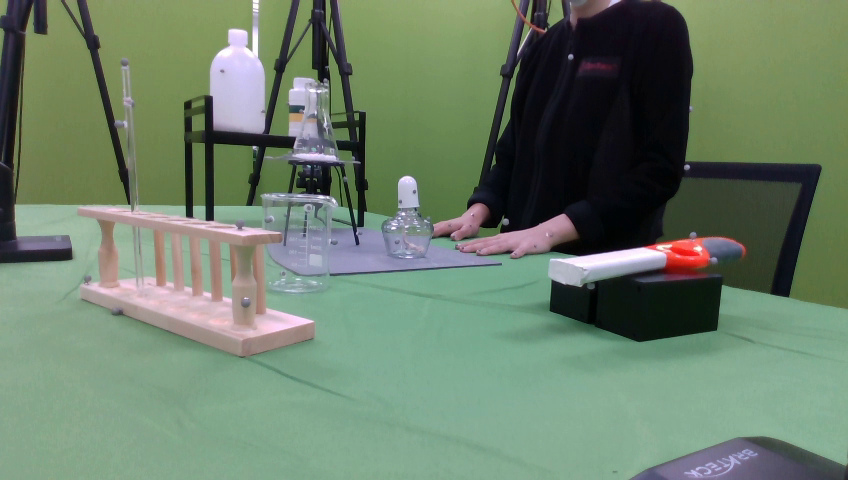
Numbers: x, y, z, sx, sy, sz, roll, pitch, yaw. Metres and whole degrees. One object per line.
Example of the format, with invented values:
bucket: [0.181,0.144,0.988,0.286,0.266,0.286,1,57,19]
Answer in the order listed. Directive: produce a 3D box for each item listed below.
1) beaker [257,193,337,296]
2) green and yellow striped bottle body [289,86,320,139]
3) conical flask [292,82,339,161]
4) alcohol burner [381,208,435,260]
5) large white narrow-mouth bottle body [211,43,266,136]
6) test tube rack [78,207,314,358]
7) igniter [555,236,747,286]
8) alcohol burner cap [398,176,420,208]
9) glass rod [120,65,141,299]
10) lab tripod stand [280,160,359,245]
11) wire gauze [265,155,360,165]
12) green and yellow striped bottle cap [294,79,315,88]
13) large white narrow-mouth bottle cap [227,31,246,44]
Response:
beaker: [-0.130,0.004,0.628,0.084,0.100,0.074,5,8,15]
green and yellow striped bottle body: [-0.250,-0.272,1.261,0.063,0.119,0.063,3,7,0]
conical flask: [-0.171,-0.185,0.957,0.075,0.122,0.075,2,7,0]
alcohol burner: [-0.023,-0.032,0.872,0.078,0.119,0.078,0,6,0]
large white narrow-mouth bottle body: [-0.361,-0.302,1.176,0.102,0.194,0.102,1,7,0]
test tube rack: [-0.197,0.024,0.500,0.241,0.085,0.067,8,8,37]
igniter: [0.221,0.017,0.558,0.278,0.025,0.057,-5,14,-39]
alcohol burner cap: [-0.023,-0.068,0.866,0.034,0.048,0.034,-4,7,1]
glass rod: [-0.249,-0.047,0.513,0.008,0.199,0.008,-1,4,0]
lab tripod stand: [-0.176,-0.062,0.973,0.148,0.131,0.148,1,7,0]
wire gauze: [-0.181,-0.128,0.969,0.126,0.011,0.121,-3,7,-26]
green and yellow striped bottle cap: [-0.248,-0.323,1.256,0.045,0.020,0.045,3,9,0]
large white narrow-mouth bottle cap: [-0.361,-0.388,1.166,0.038,0.024,0.037,1,7,0]
